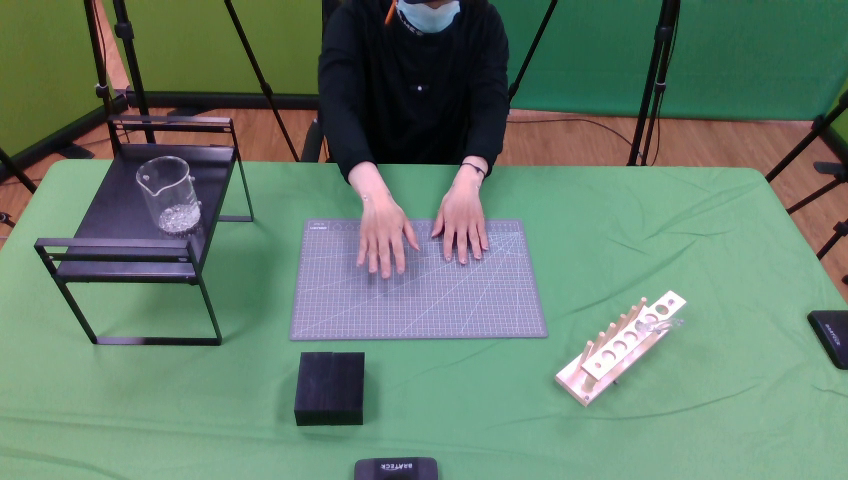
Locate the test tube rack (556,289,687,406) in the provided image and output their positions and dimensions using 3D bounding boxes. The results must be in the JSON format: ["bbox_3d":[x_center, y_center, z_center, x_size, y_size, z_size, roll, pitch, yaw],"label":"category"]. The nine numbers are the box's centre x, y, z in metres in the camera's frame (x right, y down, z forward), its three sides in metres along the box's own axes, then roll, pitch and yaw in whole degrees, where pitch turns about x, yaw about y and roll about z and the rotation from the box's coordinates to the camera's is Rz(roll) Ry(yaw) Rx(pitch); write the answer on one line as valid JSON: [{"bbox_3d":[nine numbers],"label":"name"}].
[{"bbox_3d":[0.332,0.165,1.014,0.242,0.085,0.066,-30,55,-28],"label":"test tube rack"}]

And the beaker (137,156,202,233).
[{"bbox_3d":[-0.385,-0.065,0.925,0.074,0.101,0.083,2,47,-1],"label":"beaker"}]

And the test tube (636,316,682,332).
[{"bbox_3d":[0.358,0.133,0.941,0.017,0.151,0.017,1,77,-4],"label":"test tube"}]
